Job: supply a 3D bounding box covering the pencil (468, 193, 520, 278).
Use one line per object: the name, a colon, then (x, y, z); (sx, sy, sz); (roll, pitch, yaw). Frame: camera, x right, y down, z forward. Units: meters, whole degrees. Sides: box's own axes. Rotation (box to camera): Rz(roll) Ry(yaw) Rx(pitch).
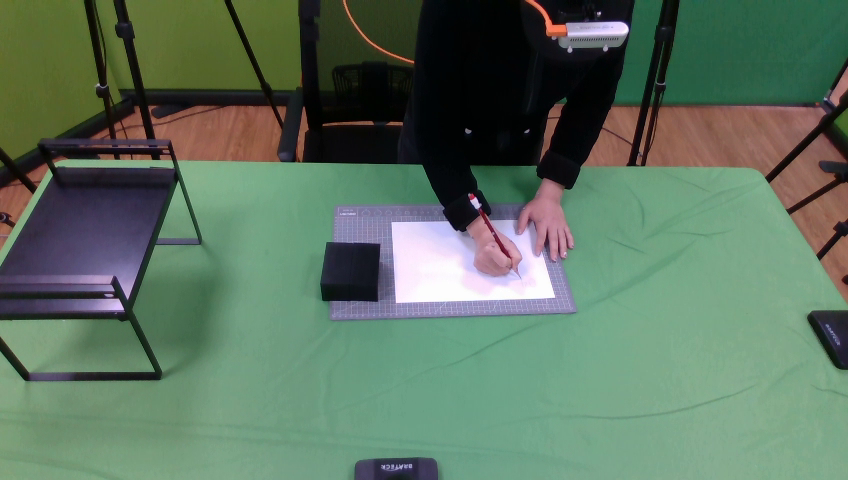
pencil: (0.132, -0.006, 1.121); (0.012, 0.195, 0.012); (-29, 18, 10)
